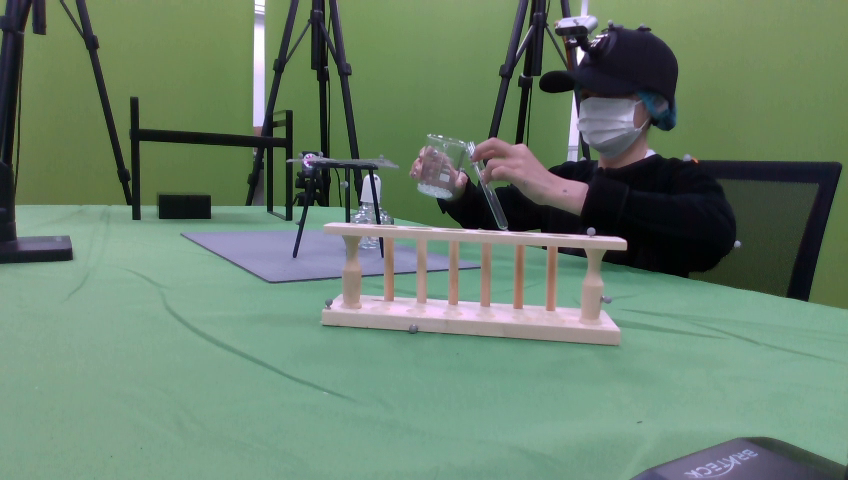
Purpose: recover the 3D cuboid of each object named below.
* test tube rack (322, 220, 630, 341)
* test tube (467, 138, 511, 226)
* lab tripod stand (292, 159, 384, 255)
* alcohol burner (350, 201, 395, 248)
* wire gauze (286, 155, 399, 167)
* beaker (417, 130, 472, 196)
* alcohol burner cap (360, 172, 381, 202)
[{"bbox_3d":[0.041,0.029,0.512,0.242,0.085,0.067,3,7,5],"label":"test tube rack"},{"bbox_3d":[0.096,-0.087,0.901,0.017,0.150,0.017,-18,-19,-6],"label":"test tube"},{"bbox_3d":[-0.105,-0.039,0.797,0.148,0.131,0.148,2,5,0],"label":"lab tripod stand"},{"bbox_3d":[-0.084,-0.048,0.953,0.078,0.119,0.078,1,6,0],"label":"alcohol burner"},{"bbox_3d":[-0.101,-0.105,0.788,0.121,0.011,0.125,4,6,6],"label":"wire gauze"},{"bbox_3d":[0.033,-0.132,1.048,0.084,0.100,0.074,15,17,6],"label":"beaker"},{"bbox_3d":[-0.081,-0.084,0.949,0.034,0.048,0.034,7,7,-1],"label":"alcohol burner cap"}]
